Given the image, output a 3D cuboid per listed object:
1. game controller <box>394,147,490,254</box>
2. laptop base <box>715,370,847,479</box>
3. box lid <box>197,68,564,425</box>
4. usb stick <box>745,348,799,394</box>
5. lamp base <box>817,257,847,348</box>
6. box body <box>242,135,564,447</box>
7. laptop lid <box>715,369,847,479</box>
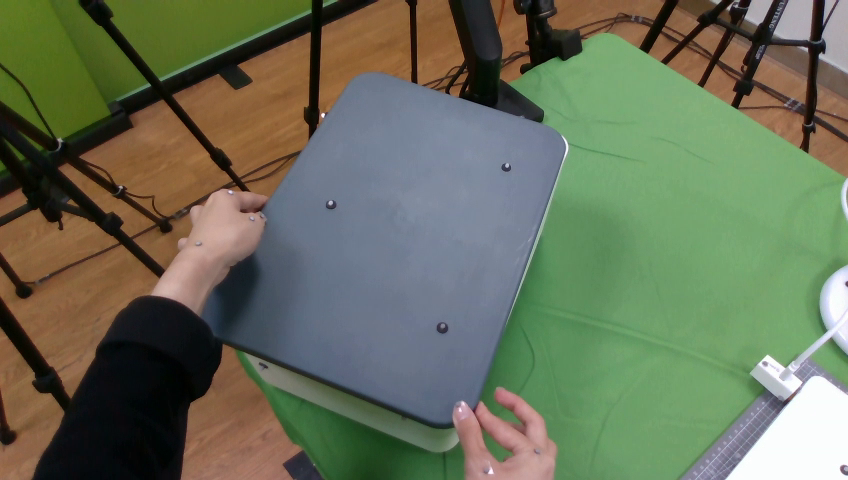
[{"bbox_3d":[0.025,-0.052,0.715,0.097,0.052,0.154,11,55,0],"label":"game controller"},{"bbox_3d":[0.459,0.313,0.562,0.235,0.023,0.351,-38,62,-20],"label":"laptop base"},{"bbox_3d":[-0.022,-0.026,0.608,0.263,0.015,0.369,20,58,8],"label":"box lid"},{"bbox_3d":[0.387,0.149,0.665,0.021,0.027,0.058,-30,62,-25],"label":"usb stick"},{"bbox_3d":[0.554,0.032,0.665,0.160,0.182,0.178,9,52,7],"label":"lamp base"},{"bbox_3d":[-0.018,0.017,0.688,0.253,0.162,0.362,19,57,13],"label":"box body"},{"bbox_3d":[0.456,0.308,0.552,0.241,0.013,0.353,-36,61,-20],"label":"laptop lid"}]
